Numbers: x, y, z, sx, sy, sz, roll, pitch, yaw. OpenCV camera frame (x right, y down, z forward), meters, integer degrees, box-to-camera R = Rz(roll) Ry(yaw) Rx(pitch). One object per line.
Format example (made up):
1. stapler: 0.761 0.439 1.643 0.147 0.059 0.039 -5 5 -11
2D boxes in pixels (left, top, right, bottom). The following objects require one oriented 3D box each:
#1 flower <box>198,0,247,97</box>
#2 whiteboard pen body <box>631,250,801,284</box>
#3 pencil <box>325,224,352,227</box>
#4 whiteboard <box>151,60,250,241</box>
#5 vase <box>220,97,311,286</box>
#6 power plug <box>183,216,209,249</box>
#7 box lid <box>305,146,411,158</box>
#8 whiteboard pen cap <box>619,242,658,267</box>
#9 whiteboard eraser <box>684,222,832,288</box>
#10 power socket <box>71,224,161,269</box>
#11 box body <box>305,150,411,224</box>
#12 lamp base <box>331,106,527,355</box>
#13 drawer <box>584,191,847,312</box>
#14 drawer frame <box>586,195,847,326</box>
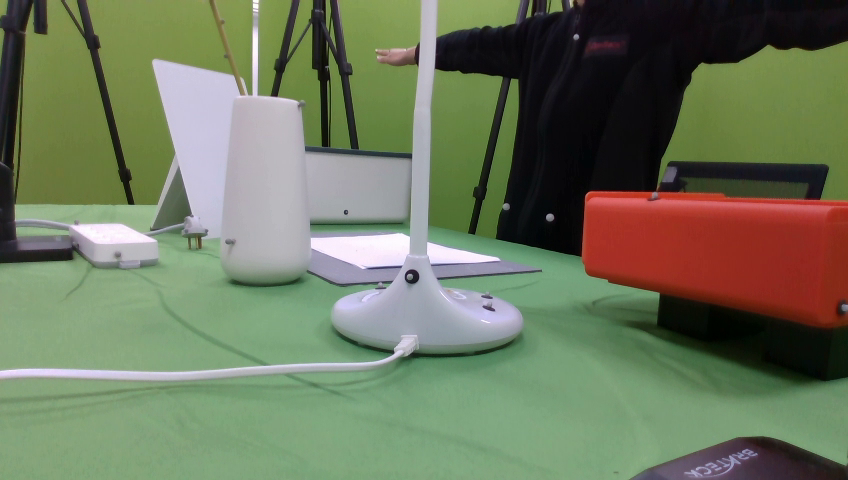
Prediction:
1. flower: -0.187 -0.133 0.648 0.038 0.362 0.044 -1 22 43
2. whiteboard pen body: 0.239 0.021 0.512 0.017 0.017 0.140 -4 8 -41
3. pencil: -0.248 -0.043 1.341 0.195 0.012 0.012 9 3 -30
4. whiteboard: -0.408 -0.140 1.093 0.143 0.305 0.218 -15 0 25
5. vase: -0.172 -0.052 0.662 0.098 0.200 0.098 3 8 0
6. power plug: -0.335 -0.007 0.891 0.035 0.052 0.072 -4 -11 -18
7. box lid: -0.232 -0.200 1.363 0.373 0.015 0.262 0 8 -29
8. whiteboard pen cap: 0.198 0.014 0.556 0.018 0.018 0.033 -4 15 -38
9. whiteboard eraser: 0.304 0.012 0.558 0.056 0.042 0.112 -10 20 -30
10. power socket: -0.408 0.004 0.793 0.072 0.032 0.225 -2 8 -38
11. box body: -0.233 -0.127 1.374 0.366 0.160 0.253 -2 8 -29
12. lamp base: 0.006 -0.012 0.478 0.161 0.180 0.179 2 10 2
13. drawer: 0.280 0.001 0.513 0.195 0.073 0.211 0 8 -28
14. drawer frame: 0.284 0.004 0.508 0.203 0.082 0.212 -1 6 -28
